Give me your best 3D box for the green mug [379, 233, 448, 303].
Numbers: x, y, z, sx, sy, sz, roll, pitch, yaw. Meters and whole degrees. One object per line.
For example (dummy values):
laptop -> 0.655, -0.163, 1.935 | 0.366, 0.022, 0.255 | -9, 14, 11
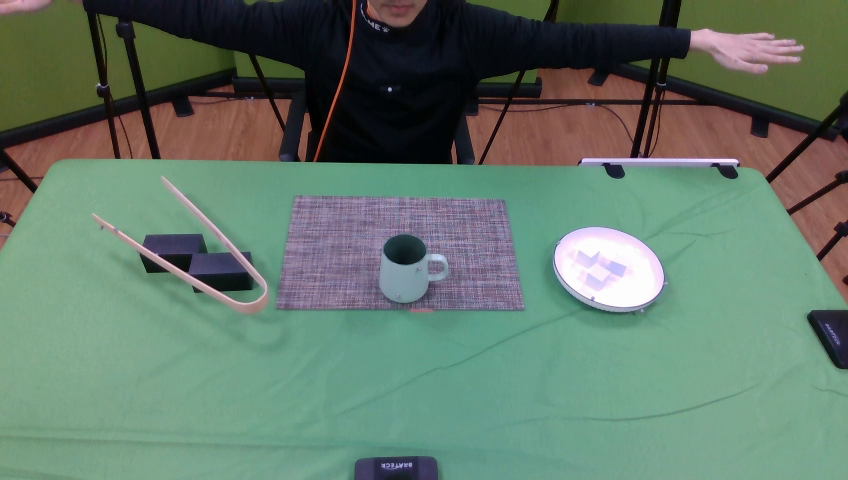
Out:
green mug -> -0.019, 0.050, 1.084 | 0.125, 0.105, 0.092 | -1, 46, -4

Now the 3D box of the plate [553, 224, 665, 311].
plate -> 0.349, 0.055, 1.159 | 0.209, 0.038, 0.208 | 2, 47, -2

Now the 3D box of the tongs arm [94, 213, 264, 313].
tongs arm -> -0.437, 0.032, 1.063 | 0.383, 0.026, 0.050 | 29, 47, 22

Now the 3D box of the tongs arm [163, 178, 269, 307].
tongs arm -> -0.387, -0.008, 1.108 | 0.028, 0.028, 0.385 | -27, 53, -36
